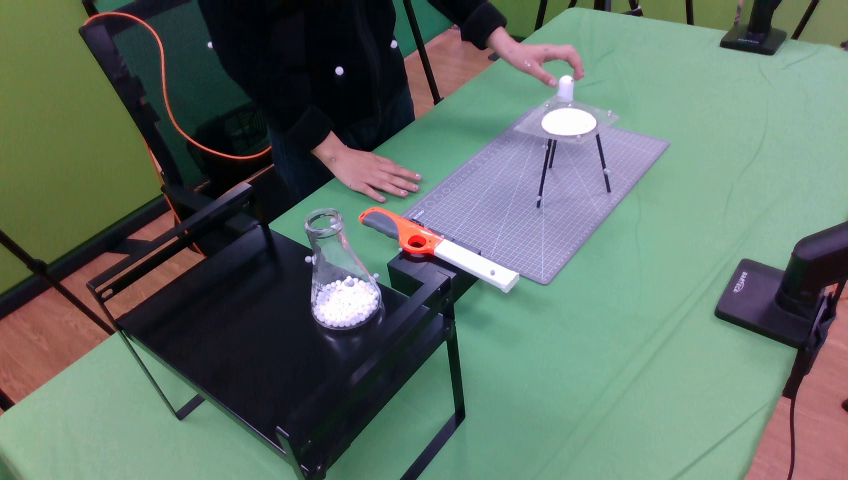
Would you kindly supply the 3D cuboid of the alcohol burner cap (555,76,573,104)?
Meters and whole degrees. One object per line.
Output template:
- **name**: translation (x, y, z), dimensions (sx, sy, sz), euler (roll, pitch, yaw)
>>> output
- **alcohol burner cap**: translation (0.267, -0.286, 1.140), dimensions (0.034, 0.048, 0.033), euler (0, 37, 1)

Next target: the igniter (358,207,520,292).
- **igniter**: translation (0.014, 0.008, 0.886), dimensions (0.274, 0.025, 0.057), euler (25, 52, 29)

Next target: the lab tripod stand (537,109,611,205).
- **lab tripod stand**: translation (0.244, -0.141, 1.014), dimensions (0.148, 0.132, 0.147), euler (-3, 39, 3)

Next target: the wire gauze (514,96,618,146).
- **wire gauze**: translation (0.229, -0.190, 0.969), dimensions (0.120, 0.011, 0.125), euler (26, 50, 33)

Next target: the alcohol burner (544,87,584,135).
- **alcohol burner**: translation (0.269, -0.256, 1.161), dimensions (0.078, 0.119, 0.077), euler (-6, 39, 5)

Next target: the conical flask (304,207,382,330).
- **conical flask**: translation (-0.088, 0.025, 0.601), dimensions (0.075, 0.122, 0.075), euler (-5, 40, 5)
